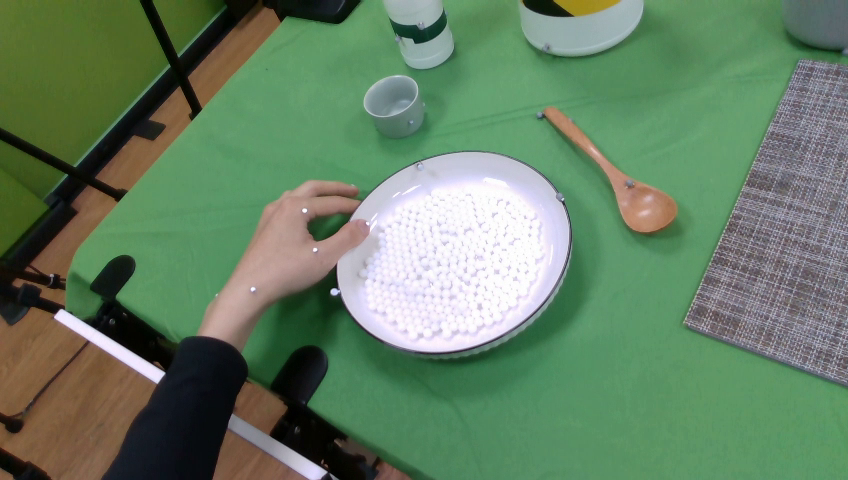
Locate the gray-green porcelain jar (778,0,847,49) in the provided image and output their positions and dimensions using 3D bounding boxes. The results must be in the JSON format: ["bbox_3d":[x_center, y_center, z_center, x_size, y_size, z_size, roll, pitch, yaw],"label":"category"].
[{"bbox_3d":[0.377,-0.244,0.532,0.105,0.128,0.105,-9,55,13],"label":"gray-green porcelain jar"}]

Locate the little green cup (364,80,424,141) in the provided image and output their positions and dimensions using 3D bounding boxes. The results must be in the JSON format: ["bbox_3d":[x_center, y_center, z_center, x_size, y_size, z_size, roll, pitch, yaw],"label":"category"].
[{"bbox_3d":[-0.030,-0.138,0.653,0.061,0.039,0.061,-9,53,12],"label":"little green cup"}]

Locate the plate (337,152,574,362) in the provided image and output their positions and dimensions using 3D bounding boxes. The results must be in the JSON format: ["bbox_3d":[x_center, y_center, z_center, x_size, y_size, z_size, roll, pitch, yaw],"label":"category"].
[{"bbox_3d":[0.027,0.013,0.530,0.209,0.038,0.207,-9,54,13],"label":"plate"}]

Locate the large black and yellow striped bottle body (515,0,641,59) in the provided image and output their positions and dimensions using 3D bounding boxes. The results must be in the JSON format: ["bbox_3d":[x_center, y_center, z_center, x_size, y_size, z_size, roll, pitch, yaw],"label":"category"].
[{"bbox_3d":[0.149,-0.292,0.606,0.130,0.186,0.129,-9,55,13],"label":"large black and yellow striped bottle body"}]

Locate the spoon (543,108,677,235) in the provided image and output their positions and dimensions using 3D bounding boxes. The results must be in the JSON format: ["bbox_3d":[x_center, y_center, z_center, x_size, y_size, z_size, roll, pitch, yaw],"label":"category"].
[{"bbox_3d":[0.161,-0.071,0.552,0.041,0.022,0.191,-41,52,13],"label":"spoon"}]

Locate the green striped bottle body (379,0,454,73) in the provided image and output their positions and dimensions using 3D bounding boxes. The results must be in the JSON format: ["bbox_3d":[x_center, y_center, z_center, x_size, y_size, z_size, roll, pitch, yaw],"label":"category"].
[{"bbox_3d":[-0.011,-0.251,0.673,0.063,0.120,0.062,-9,54,13],"label":"green striped bottle body"}]
